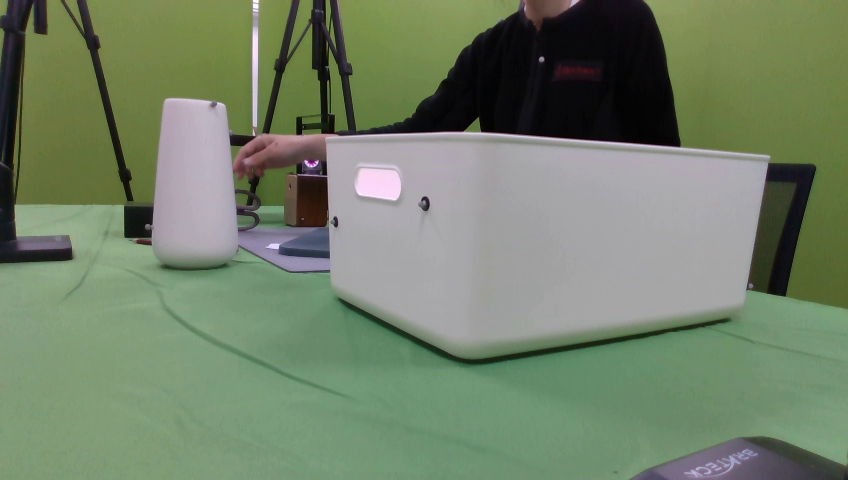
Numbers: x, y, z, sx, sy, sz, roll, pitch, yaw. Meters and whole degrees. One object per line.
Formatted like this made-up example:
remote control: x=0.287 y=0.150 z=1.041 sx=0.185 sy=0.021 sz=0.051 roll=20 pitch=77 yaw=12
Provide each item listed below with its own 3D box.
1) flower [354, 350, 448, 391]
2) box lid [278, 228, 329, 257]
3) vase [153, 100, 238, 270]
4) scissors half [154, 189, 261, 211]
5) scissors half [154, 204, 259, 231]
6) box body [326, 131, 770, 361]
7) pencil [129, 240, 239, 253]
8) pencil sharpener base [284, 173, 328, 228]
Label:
flower: x=0.104 y=0.075 z=0.586 sx=0.363 sy=0.044 sz=0.038 roll=-19 pitch=39 yaw=-14
box lid: x=-0.019 y=0.012 z=0.950 sx=0.371 sy=0.015 sz=0.263 roll=4 pitch=7 yaw=4
vase: x=-0.278 y=-0.066 z=0.736 sx=0.098 sy=0.200 sz=0.098 roll=2 pitch=9 yaw=0
scissors half: x=-0.373 y=-0.066 z=1.049 sx=0.176 sy=0.040 sz=0.012 roll=-6 pitch=15 yaw=-26
scissors half: x=-0.375 y=-0.046 z=1.052 sx=0.176 sy=0.040 sz=0.013 roll=13 pitch=1 yaw=-28
box body: x=0.112 y=-0.010 z=0.583 sx=0.366 sy=0.160 sz=0.253 roll=-2 pitch=9 yaw=-33
pencil: x=-0.350 y=0.008 z=0.874 sx=0.193 sy=0.012 sz=0.012 roll=3 pitch=7 yaw=19
pencil sharpener base: x=-0.239 y=-0.081 z=1.231 sx=0.077 sy=0.107 sz=0.061 roll=-2 pitch=8 yaw=-36
